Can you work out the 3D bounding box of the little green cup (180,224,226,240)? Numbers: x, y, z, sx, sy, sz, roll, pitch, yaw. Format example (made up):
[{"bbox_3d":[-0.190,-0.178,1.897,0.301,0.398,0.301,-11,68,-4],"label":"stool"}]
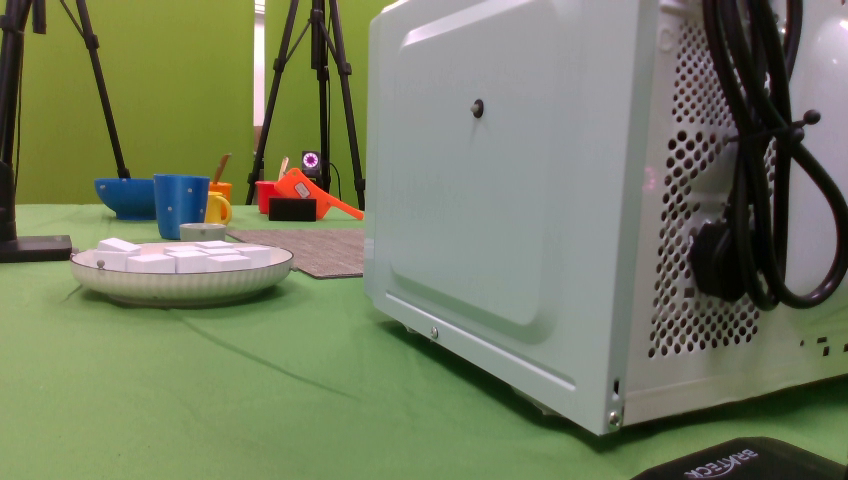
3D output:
[{"bbox_3d":[-0.308,-0.001,0.846,0.061,0.038,0.061,2,8,0],"label":"little green cup"}]

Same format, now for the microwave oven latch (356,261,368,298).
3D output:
[{"bbox_3d":[-0.019,0.033,0.529,0.079,0.029,0.030,0,7,-24],"label":"microwave oven latch"}]

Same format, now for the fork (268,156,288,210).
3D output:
[{"bbox_3d":[-0.360,-0.144,1.508,0.028,0.018,0.207,1,49,0],"label":"fork"}]

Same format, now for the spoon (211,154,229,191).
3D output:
[{"bbox_3d":[-0.431,-0.115,1.253,0.042,0.193,0.021,-3,54,-33],"label":"spoon"}]

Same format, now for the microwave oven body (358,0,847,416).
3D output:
[{"bbox_3d":[0.211,-0.047,0.474,0.444,0.260,0.324,-1,8,-28],"label":"microwave oven body"}]

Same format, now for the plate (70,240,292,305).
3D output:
[{"bbox_3d":[-0.242,0.031,0.618,0.208,0.039,0.207,2,8,0],"label":"plate"}]

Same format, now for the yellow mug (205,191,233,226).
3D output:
[{"bbox_3d":[-0.415,-0.057,1.132,0.130,0.064,0.100,6,8,16],"label":"yellow mug"}]

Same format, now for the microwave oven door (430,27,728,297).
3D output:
[{"bbox_3d":[0.177,-0.073,0.628,0.358,0.243,0.039,-1,8,-26],"label":"microwave oven door"}]

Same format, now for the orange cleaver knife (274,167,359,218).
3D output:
[{"bbox_3d":[-0.238,-0.091,1.381,0.212,0.077,0.012,31,0,-19],"label":"orange cleaver knife"}]

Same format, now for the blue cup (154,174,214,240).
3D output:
[{"bbox_3d":[-0.391,-0.053,0.977,0.093,0.100,0.092,3,6,0],"label":"blue cup"}]

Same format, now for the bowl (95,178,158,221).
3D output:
[{"bbox_3d":[-0.576,-0.081,1.217,0.151,0.077,0.151,3,7,0],"label":"bowl"}]
